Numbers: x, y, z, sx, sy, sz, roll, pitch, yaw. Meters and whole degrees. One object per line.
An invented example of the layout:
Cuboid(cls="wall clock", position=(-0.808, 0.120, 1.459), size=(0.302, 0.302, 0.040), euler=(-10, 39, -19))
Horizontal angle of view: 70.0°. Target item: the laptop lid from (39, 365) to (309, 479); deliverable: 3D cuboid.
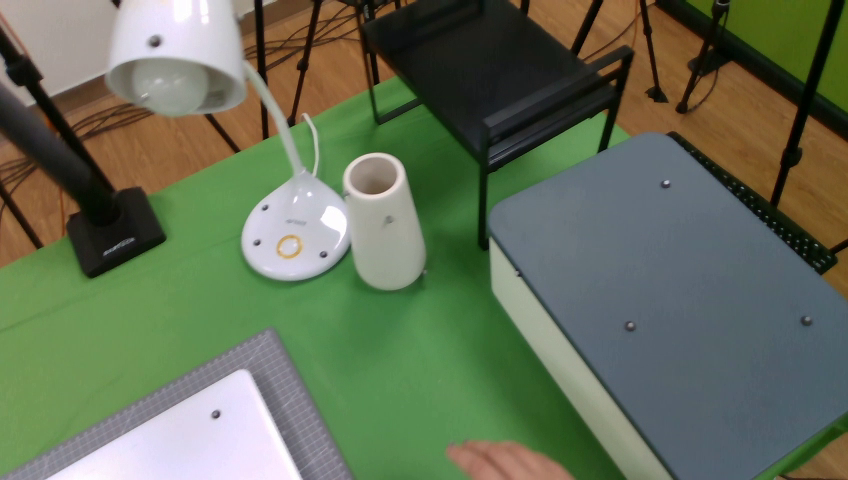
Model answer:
Cuboid(cls="laptop lid", position=(-0.303, 0.315, 0.653), size=(0.357, 0.013, 0.239), euler=(-28, 62, -14))

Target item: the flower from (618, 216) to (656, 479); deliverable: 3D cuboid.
Cuboid(cls="flower", position=(0.269, 0.126, 0.743), size=(0.044, 0.038, 0.358), euler=(-12, 53, 29))

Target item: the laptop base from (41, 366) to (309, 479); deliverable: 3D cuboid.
Cuboid(cls="laptop base", position=(-0.304, 0.319, 0.663), size=(0.354, 0.023, 0.233), euler=(-29, 63, -15))

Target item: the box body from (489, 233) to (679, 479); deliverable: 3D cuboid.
Cuboid(cls="box body", position=(0.267, 0.083, 0.695), size=(0.254, 0.162, 0.360), euler=(-27, 59, -13))

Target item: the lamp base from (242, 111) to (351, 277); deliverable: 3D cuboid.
Cuboid(cls="lamp base", position=(-0.186, -0.069, 0.813), size=(0.160, 0.182, 0.177), euler=(-1, 54, 3))

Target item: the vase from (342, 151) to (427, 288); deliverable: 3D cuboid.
Cuboid(cls="vase", position=(-0.052, -0.022, 0.762), size=(0.098, 0.202, 0.097), euler=(-3, 56, 4))

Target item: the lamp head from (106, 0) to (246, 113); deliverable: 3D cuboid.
Cuboid(cls="lamp head", position=(-0.212, -0.184, 0.531), size=(0.112, 0.113, 0.122), euler=(-3, 74, 2))

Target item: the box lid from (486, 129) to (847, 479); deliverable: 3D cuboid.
Cuboid(cls="box lid", position=(0.261, 0.041, 0.633), size=(0.263, 0.015, 0.367), euler=(-26, 59, -14))
